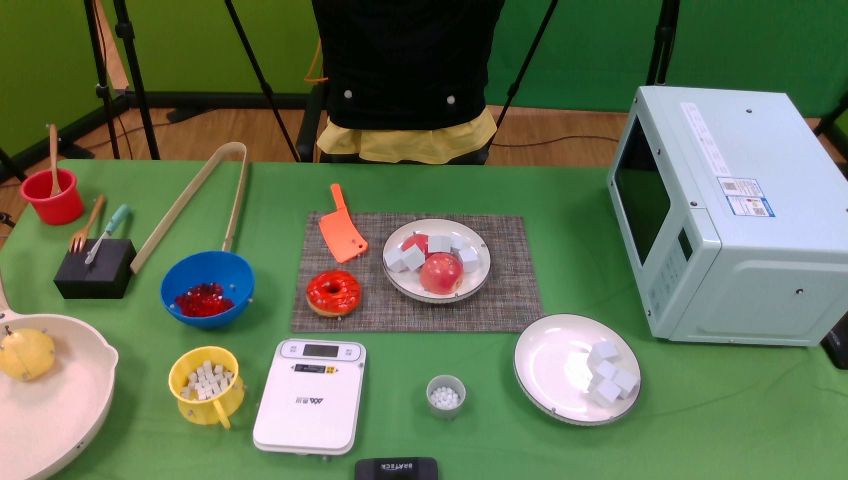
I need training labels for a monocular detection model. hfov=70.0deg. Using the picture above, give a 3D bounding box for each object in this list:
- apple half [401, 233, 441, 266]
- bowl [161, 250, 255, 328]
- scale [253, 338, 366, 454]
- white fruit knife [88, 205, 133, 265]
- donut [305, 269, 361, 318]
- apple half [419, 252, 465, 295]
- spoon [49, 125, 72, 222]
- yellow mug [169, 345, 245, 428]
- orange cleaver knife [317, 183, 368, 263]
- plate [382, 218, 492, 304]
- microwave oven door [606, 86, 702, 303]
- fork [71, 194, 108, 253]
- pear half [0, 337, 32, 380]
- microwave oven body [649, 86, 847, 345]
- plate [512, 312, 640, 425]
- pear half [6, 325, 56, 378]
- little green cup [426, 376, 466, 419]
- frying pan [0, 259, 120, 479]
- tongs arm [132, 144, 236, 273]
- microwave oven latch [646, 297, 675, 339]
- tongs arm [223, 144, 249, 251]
[{"bbox_3d":[-0.004,0.013,1.160,0.081,0.033,0.081,5,44,-4],"label":"apple half"},{"bbox_3d":[-0.362,0.098,1.039,0.151,0.077,0.150,2,45,-2],"label":"bowl"},{"bbox_3d":[-0.175,0.236,0.951,0.149,0.032,0.199,4,45,-1],"label":"scale"},{"bbox_3d":[-0.583,-0.013,1.129,0.016,0.027,0.206,-2,32,-4],"label":"white fruit knife"},{"bbox_3d":[-0.160,0.094,1.075,0.099,0.048,0.098,4,45,-3],"label":"donut"},{"bbox_3d":[0.035,0.055,1.109,0.074,0.053,0.081,38,55,24],"label":"apple half"},{"bbox_3d":[-0.718,-0.131,1.189,0.041,0.021,0.193,-4,91,-6],"label":"spoon"},{"bbox_3d":[-0.322,0.230,0.922,0.100,0.064,0.130,-24,53,-25],"label":"yellow mug"},{"bbox_3d":[-0.174,-0.037,1.218,0.077,0.012,0.210,-17,51,-11],"label":"orange cleaver knife"},{"bbox_3d":[0.023,0.042,1.143,0.209,0.038,0.208,2,46,-2],"label":"plate"},{"bbox_3d":[0.422,-0.094,1.140,0.039,0.245,0.353,2,46,-1],"label":"microwave oven door"},{"bbox_3d":[-0.634,-0.036,1.158,0.028,0.019,0.206,-7,31,-8],"label":"fork"},{"bbox_3d":[-0.631,0.184,0.921,0.070,0.088,0.031,29,49,19],"label":"pear half"},{"bbox_3d":[0.567,-0.053,1.118,0.326,0.261,0.439,2,45,-1],"label":"microwave oven body"},{"bbox_3d":[0.246,0.213,0.999,0.208,0.039,0.206,2,46,-2],"label":"plate"},{"bbox_3d":[-0.608,0.158,0.935,0.076,0.110,0.056,31,51,20],"label":"pear half"},{"bbox_3d":[0.033,0.248,0.950,0.061,0.039,0.061,2,46,-2],"label":"little green cup"},{"bbox_3d":[-0.647,0.164,0.936,0.307,0.103,0.485,-19,58,-22],"label":"frying pan"},{"bbox_3d":[-0.482,-0.078,1.235,0.028,0.028,0.385,6,45,12],"label":"tongs arm"},{"bbox_3d":[0.412,0.134,1.061,0.030,0.029,0.078,4,45,1],"label":"microwave oven latch"},{"bbox_3d":[-0.397,-0.073,1.232,0.051,0.026,0.382,-1,45,0],"label":"tongs arm"}]
